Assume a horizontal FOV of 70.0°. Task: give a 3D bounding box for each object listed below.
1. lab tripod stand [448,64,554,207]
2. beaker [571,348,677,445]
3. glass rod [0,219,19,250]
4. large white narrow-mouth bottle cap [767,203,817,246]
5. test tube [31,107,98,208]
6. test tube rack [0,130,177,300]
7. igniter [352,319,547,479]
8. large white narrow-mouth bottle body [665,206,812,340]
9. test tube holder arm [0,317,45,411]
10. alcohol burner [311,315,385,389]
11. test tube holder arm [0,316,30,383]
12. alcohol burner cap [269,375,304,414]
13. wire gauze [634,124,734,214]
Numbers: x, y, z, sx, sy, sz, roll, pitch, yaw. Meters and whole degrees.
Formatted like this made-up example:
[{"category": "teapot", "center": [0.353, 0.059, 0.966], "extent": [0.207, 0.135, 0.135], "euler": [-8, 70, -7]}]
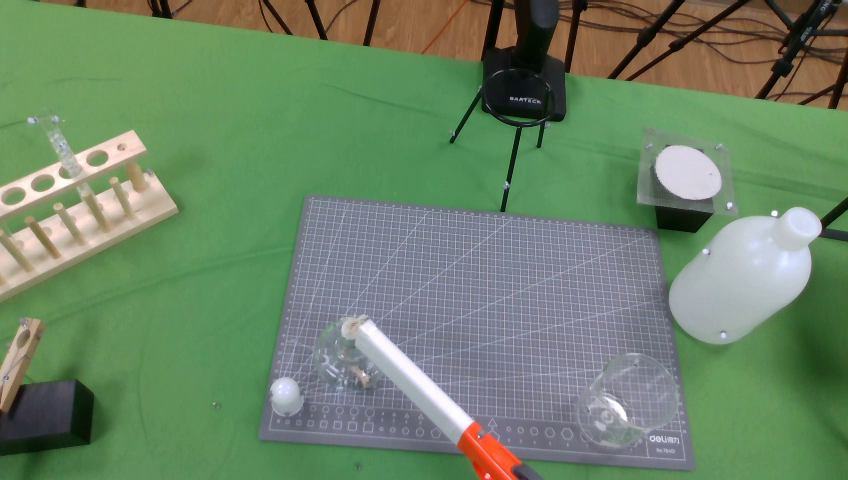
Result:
[{"category": "lab tripod stand", "center": [0.103, -0.136, 0.754], "extent": [0.148, 0.132, 0.147], "euler": [4, 61, -6]}, {"category": "beaker", "center": [0.192, 0.161, 0.608], "extent": [0.084, 0.101, 0.073], "euler": [3, 59, -4]}, {"category": "glass rod", "center": [-0.437, -0.052, 0.592], "extent": [0.008, 0.201, 0.008], "euler": [5, 50, -5]}, {"category": "large white narrow-mouth bottle cap", "center": [0.350, -0.015, 0.578], "extent": [0.038, 0.024, 0.037], "euler": [3, 59, -4]}, {"category": "test tube", "center": [-0.372, -0.080, 0.634], "extent": [0.017, 0.151, 0.017], "euler": [4, 57, -6]}, {"category": "test tube rack", "center": [-0.405, -0.020, 0.654], "extent": [0.242, 0.086, 0.066], "euler": [-32, 68, -22]}, {"category": "igniter", "center": [0.040, 0.164, 0.494], "extent": [0.274, 0.057, 0.025], "euler": [40, 50, 21]}, {"category": "large white narrow-mouth bottle body", "center": [0.343, 0.029, 0.650], "extent": [0.102, 0.196, 0.101], "euler": [3, 59, -4]}, {"category": "test tube holder arm", "center": [-0.377, 0.114, 0.563], "extent": [0.010, 0.015, 0.087], "euler": [9, 58, -2]}, {"category": "alcohol burner", "center": [-0.073, 0.104, 0.601], "extent": [0.078, 0.120, 0.077], "euler": [4, 58, -6]}, {"category": "test tube holder arm", "center": [-0.387, 0.151, 0.539], "extent": [0.013, 0.015, 0.177], "euler": [8, 58, -2]}, {"category": "alcohol burner cap", "center": [-0.139, 0.153, 0.607], "extent": [0.034, 0.048, 0.033], "euler": [2, 61, -3]}, {"category": "wire gauze", "center": [0.328, -0.090, 0.770], "extent": [0.121, 0.011, 0.124], "euler": [12, 59, 1]}]
